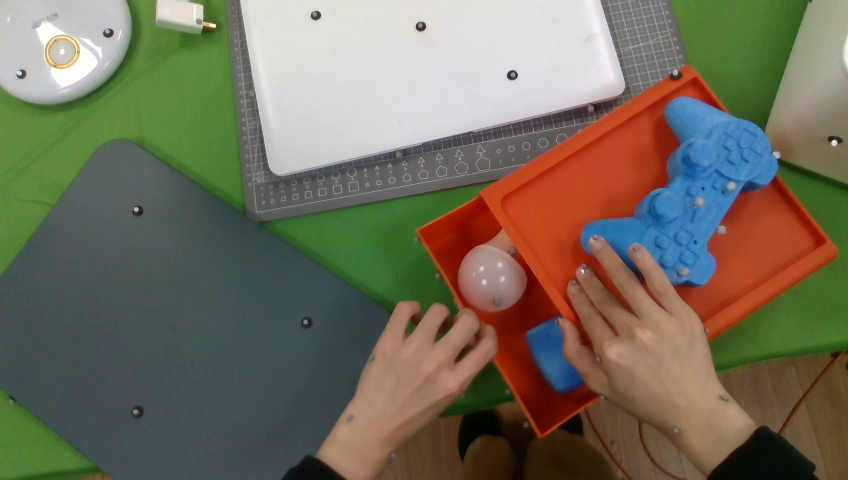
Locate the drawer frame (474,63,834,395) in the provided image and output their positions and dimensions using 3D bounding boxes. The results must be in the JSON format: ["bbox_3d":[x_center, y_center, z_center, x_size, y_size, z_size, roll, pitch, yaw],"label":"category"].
[{"bbox_3d":[0.183,-0.009,0.521,0.213,0.083,0.200,-32,77,-3],"label":"drawer frame"}]

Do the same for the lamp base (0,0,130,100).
[{"bbox_3d":[-0.407,-0.250,0.573,0.160,0.181,0.178,-38,74,-5],"label":"lamp base"}]

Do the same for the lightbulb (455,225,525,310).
[{"bbox_3d":[0.070,0.013,0.536,0.059,0.060,0.107,31,66,11],"label":"lightbulb"}]

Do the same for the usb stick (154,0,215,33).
[{"bbox_3d":[-0.247,-0.232,0.627,0.059,0.021,0.027,7,81,-28],"label":"usb stick"}]

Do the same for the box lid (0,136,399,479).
[{"bbox_3d":[-0.237,0.085,0.571,0.370,0.015,0.263,32,82,10],"label":"box lid"}]

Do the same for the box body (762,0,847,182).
[{"bbox_3d":[0.476,-0.209,0.502,0.253,0.161,0.363,23,80,9],"label":"box body"}]

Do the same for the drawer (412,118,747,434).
[{"bbox_3d":[0.127,0.025,0.518,0.212,0.073,0.193,-31,76,-2],"label":"drawer"}]

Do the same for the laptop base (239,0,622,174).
[{"bbox_3d":[-0.003,-0.211,0.614,0.354,0.023,0.234,-13,80,2],"label":"laptop base"}]

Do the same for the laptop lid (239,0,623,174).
[{"bbox_3d":[-0.003,-0.212,0.603,0.357,0.013,0.240,-11,79,2],"label":"laptop lid"}]

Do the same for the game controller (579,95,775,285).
[{"bbox_3d":[0.201,-0.037,0.473,0.097,0.052,0.155,35,84,7],"label":"game controller"}]
